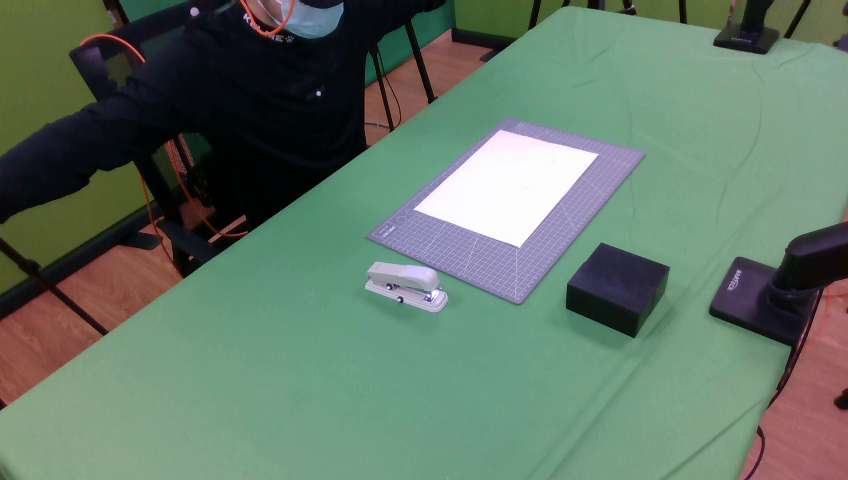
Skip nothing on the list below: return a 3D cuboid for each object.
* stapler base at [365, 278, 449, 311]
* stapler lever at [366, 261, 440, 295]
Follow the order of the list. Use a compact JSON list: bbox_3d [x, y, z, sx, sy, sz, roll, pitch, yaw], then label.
[{"bbox_3d":[-0.027,0.069,0.893,0.129,0.024,0.041,15,42,26],"label":"stapler base"},{"bbox_3d":[-0.032,0.049,0.878,0.117,0.040,0.027,15,43,26],"label":"stapler lever"}]
